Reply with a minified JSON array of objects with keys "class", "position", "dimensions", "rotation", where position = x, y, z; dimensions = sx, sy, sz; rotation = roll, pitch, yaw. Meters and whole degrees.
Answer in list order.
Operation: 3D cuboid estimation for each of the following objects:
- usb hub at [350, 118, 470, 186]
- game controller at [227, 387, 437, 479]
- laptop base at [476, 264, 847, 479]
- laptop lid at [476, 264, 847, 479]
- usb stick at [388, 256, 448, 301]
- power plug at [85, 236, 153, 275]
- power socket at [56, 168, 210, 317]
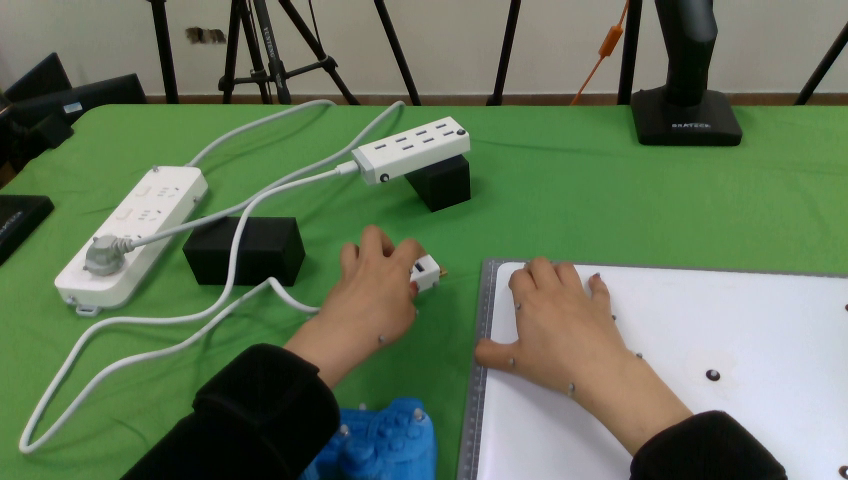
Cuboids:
[{"class":"usb hub","position":[-0.015,-0.098,0.673],"dimensions":[0.125,0.025,0.049],"rotation":[-22,45,-16]},{"class":"game controller","position":[-0.065,0.157,0.449],"dimensions":[0.155,0.052,0.096],"rotation":[3,38,10]},{"class":"laptop base","position":[0.227,0.116,0.483],"dimensions":[0.354,0.023,0.233],"rotation":[3,45,9]},{"class":"laptop lid","position":[0.225,0.109,0.474],"dimensions":[0.356,0.013,0.239],"rotation":[3,44,11]},{"class":"usb stick","position":[-0.004,0.034,0.572],"dimensions":[0.059,0.027,0.021],"rotation":[-19,48,-26]},{"class":"power plug","position":[-0.301,0.024,0.600],"dimensions":[0.072,0.053,0.035],"rotation":[14,44,17]},{"class":"power socket","position":[-0.315,-0.009,0.674],"dimensions":[0.072,0.033,0.225],"rotation":[5,42,10]}]
